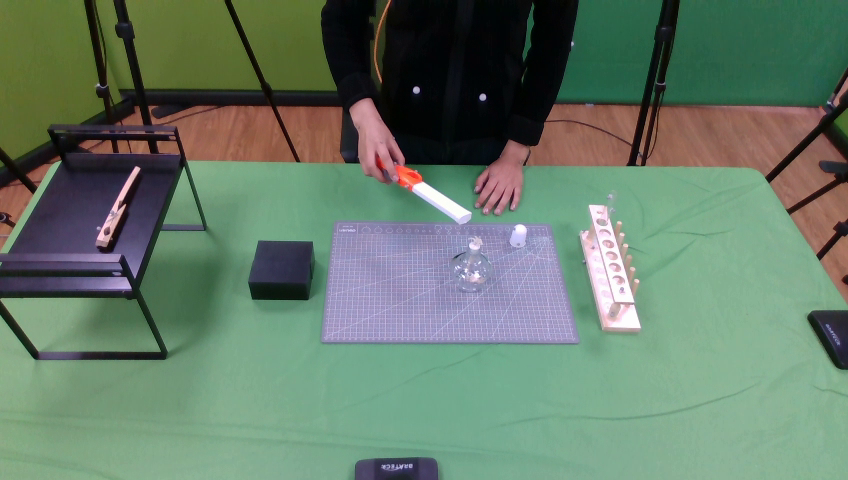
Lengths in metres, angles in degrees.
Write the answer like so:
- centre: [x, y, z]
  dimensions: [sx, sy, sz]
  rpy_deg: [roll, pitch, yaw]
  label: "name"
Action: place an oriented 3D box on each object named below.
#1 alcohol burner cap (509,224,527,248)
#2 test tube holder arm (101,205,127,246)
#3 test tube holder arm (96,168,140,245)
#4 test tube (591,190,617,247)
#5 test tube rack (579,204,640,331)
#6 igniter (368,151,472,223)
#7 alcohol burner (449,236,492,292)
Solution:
- centre: [0.189, -0.011, 1.206]
  dimensions: [0.034, 0.048, 0.033]
  rpy_deg: [1, 46, -1]
  label: "alcohol burner cap"
- centre: [-0.480, -0.025, 0.938]
  dimensions: [0.010, 0.015, 0.087]
  rpy_deg: [28, 37, -26]
  label: "test tube holder arm"
- centre: [-0.486, -0.058, 0.968]
  dimensions: [0.013, 0.015, 0.177]
  rpy_deg: [27, 37, -27]
  label: "test tube holder arm"
- centre: [0.340, -0.038, 1.149]
  dimensions: [0.017, 0.151, 0.017]
  rpy_deg: [1, 50, -1]
  label: "test tube"
- centre: [0.353, 0.047, 1.137]
  dimensions: [0.067, 0.085, 0.241]
  rpy_deg: [2, 46, -2]
  label: "test tube rack"
- centre: [-0.017, -0.104, 1.127]
  dimensions: [0.057, 0.025, 0.275]
  rpy_deg: [-22, 44, -36]
  label: "igniter"
- centre: [0.086, 0.038, 1.101]
  dimensions: [0.078, 0.119, 0.077]
  rpy_deg: [3, 44, -2]
  label: "alcohol burner"
